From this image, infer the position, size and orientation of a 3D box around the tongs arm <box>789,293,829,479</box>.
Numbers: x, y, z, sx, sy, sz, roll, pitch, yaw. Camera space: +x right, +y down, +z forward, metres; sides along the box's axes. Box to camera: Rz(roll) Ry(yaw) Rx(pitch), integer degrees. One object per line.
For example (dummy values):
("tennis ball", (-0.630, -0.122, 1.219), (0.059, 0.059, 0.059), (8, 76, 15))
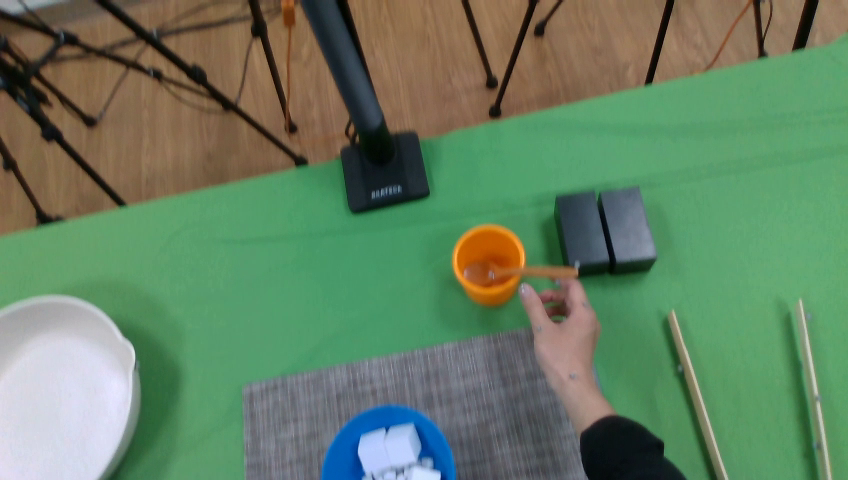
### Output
("tongs arm", (0.421, 0.246, 0.673), (0.050, 0.027, 0.382), (-1, 69, 9))

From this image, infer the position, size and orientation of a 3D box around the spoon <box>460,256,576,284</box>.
("spoon", (0.108, 0.036, 0.741), (0.022, 0.193, 0.041), (38, 68, -24))

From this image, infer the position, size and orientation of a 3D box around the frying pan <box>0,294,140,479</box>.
("frying pan", (-0.460, 0.294, 0.733), (0.307, 0.104, 0.482), (-27, 58, -3))

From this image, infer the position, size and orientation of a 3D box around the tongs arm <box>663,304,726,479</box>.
("tongs arm", (0.341, 0.254, 0.686), (0.028, 0.028, 0.384), (-12, 67, 1))

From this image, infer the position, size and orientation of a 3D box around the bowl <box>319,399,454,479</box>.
("bowl", (-0.037, 0.265, 0.698), (0.151, 0.077, 0.150), (-3, 67, 7))
